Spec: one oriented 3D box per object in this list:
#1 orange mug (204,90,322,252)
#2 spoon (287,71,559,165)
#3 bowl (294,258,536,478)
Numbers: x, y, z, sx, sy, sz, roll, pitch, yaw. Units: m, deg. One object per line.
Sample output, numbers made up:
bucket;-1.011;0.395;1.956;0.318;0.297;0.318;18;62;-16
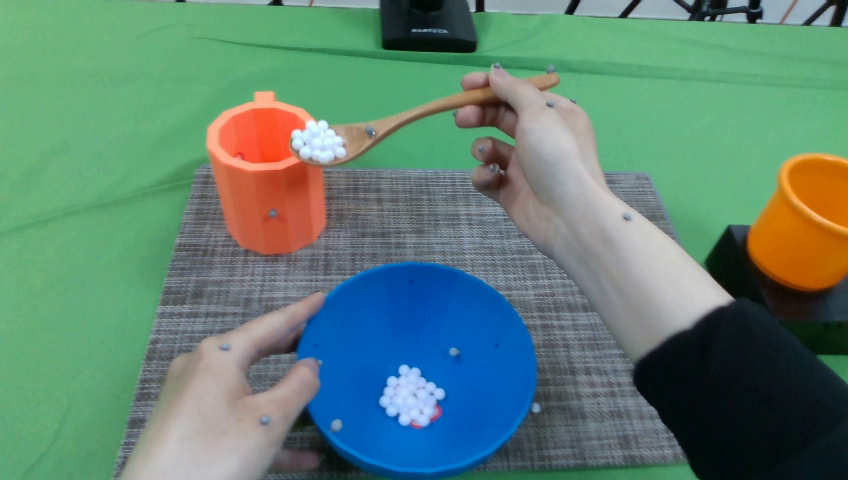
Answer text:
orange mug;-0.134;-0.067;0.517;0.084;0.101;0.125;-6;54;-11
spoon;0.001;-0.087;0.418;0.194;0.022;0.041;-18;45;2
bowl;-0.008;0.094;0.405;0.151;0.077;0.150;4;49;-4
